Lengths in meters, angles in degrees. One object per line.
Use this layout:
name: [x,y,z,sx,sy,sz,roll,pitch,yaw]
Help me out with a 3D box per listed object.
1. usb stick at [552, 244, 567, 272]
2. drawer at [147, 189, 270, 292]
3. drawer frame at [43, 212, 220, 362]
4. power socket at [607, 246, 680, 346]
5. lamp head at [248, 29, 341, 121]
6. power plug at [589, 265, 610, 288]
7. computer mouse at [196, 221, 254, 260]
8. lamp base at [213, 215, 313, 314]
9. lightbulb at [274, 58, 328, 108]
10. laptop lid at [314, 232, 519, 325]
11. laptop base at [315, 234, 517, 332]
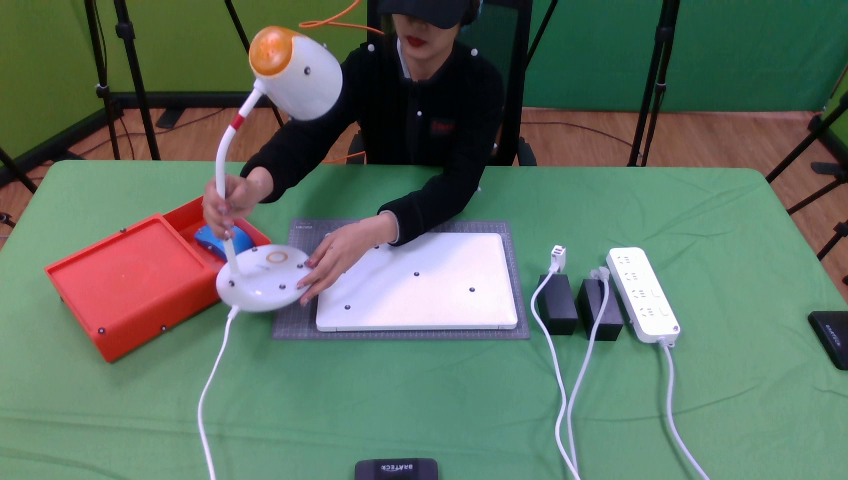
usb stick: [0.251,0.039,1.124,0.021,0.059,0.027,14,48,26]
drawer: [-0.419,0.021,1.107,0.193,0.073,0.211,37,54,27]
drawer frame: [-0.497,0.073,1.049,0.213,0.083,0.200,-34,57,-31]
power socket: [0.403,0.096,1.123,0.072,0.033,0.225,-3,46,-5]
lamp head: [-0.191,-0.234,0.844,0.112,0.123,0.112,-1,86,19]
power plug: [0.317,0.073,1.108,0.035,0.053,0.072,26,33,13]
computer mouse: [-0.380,-0.003,1.152,0.116,0.041,0.062,28,53,28]
lamp base: [-0.272,0.008,0.960,0.160,0.181,0.178,9,41,14]
lightbulb: [-0.178,-0.228,0.864,0.059,0.108,0.059,-3,80,18]
laptop lid: [-0.015,0.065,1.118,0.357,0.013,0.240,1,43,-3]
laptop base: [-0.016,0.074,1.125,0.355,0.023,0.234,0,42,-4]
